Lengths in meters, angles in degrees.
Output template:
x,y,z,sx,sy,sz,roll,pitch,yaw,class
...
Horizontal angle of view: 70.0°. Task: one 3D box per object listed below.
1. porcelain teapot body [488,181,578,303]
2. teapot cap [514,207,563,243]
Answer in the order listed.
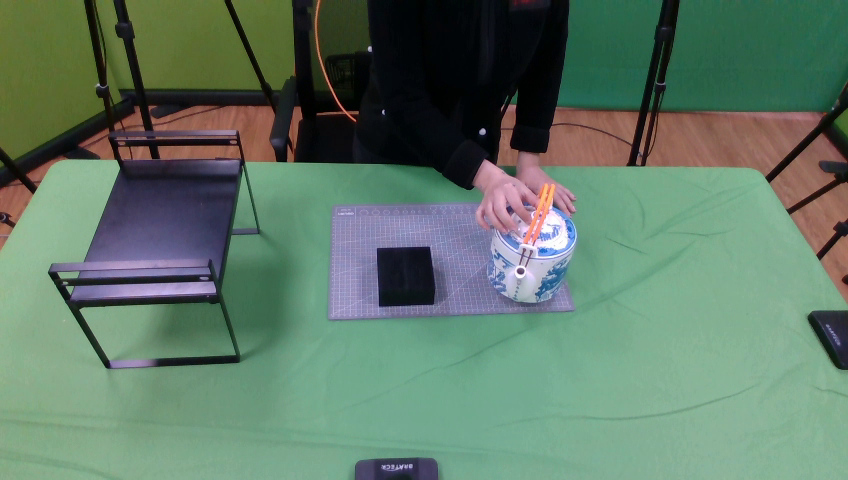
x,y,z,sx,sy,sz,roll,pitch,yaw,class
0.186,0.018,1.048,0.145,0.226,0.204,15,47,10,porcelain teapot body
0.197,-0.029,1.038,0.085,0.044,0.084,3,50,-4,teapot cap
